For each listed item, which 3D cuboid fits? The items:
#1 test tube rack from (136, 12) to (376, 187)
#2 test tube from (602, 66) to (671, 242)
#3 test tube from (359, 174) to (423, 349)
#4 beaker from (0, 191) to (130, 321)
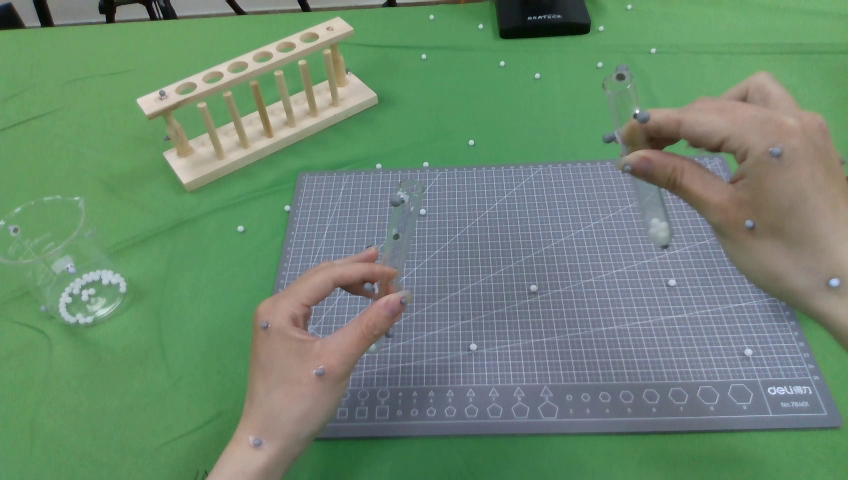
[{"bbox_3d":[-0.176,-0.160,0.675,0.242,0.086,0.066,-31,54,-20],"label":"test tube rack"},{"bbox_3d":[0.127,-0.042,0.355,0.017,0.152,0.017,-15,52,21],"label":"test tube"},{"bbox_3d":[-0.024,0.021,0.392,0.017,0.151,0.017,10,40,-8],"label":"test tube"},{"bbox_3d":[-0.309,0.016,0.528,0.073,0.101,0.083,20,54,19],"label":"beaker"}]
